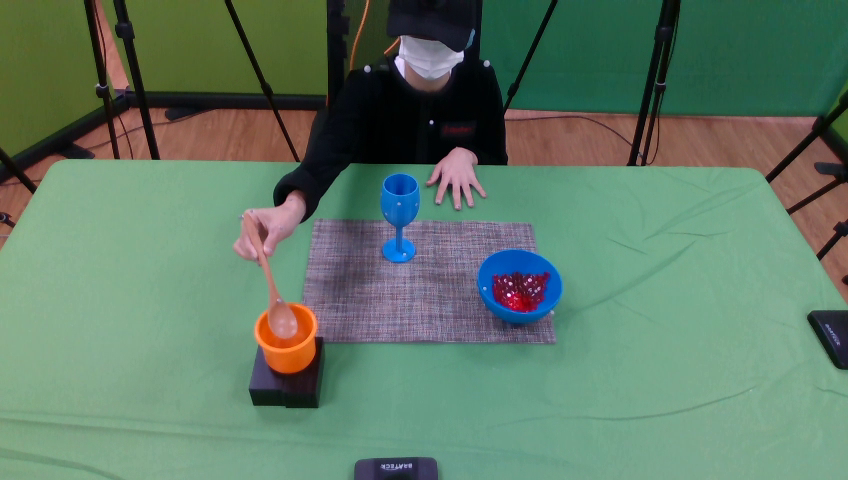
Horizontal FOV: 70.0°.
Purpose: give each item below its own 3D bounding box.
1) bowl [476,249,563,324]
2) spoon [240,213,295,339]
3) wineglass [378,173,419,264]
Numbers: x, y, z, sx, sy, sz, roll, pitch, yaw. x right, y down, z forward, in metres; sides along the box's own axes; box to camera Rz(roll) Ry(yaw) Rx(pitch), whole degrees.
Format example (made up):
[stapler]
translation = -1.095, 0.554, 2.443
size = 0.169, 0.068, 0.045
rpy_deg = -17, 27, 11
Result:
[bowl]
translation = 0.163, 0.096, 1.073
size = 0.151, 0.077, 0.150
rpy_deg = 2, 45, -2
[spoon]
translation = -0.231, 0.052, 0.889
size = 0.042, 0.194, 0.021
rpy_deg = -19, 6, -36
[wineglass]
translation = -0.047, -0.037, 1.121
size = 0.074, 0.173, 0.073
rpy_deg = 2, 46, -2
